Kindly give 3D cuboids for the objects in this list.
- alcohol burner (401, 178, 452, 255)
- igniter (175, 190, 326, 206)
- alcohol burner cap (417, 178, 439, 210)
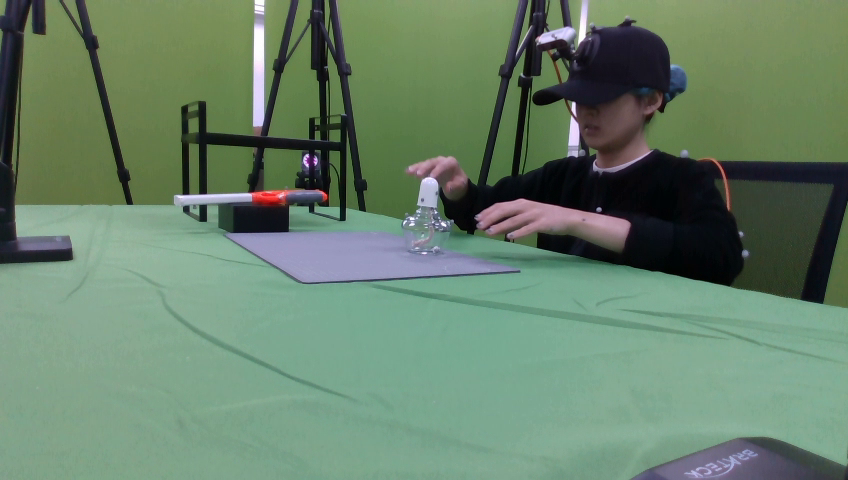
[{"bbox_3d":[0.005,-0.036,0.923,0.078,0.119,0.078,5,7,0],"label":"alcohol burner"},{"bbox_3d":[-0.315,-0.079,1.128,0.278,0.025,0.057,-5,13,-34],"label":"igniter"},{"bbox_3d":[0.008,-0.071,0.917,0.034,0.048,0.034,6,5,0],"label":"alcohol burner cap"}]
